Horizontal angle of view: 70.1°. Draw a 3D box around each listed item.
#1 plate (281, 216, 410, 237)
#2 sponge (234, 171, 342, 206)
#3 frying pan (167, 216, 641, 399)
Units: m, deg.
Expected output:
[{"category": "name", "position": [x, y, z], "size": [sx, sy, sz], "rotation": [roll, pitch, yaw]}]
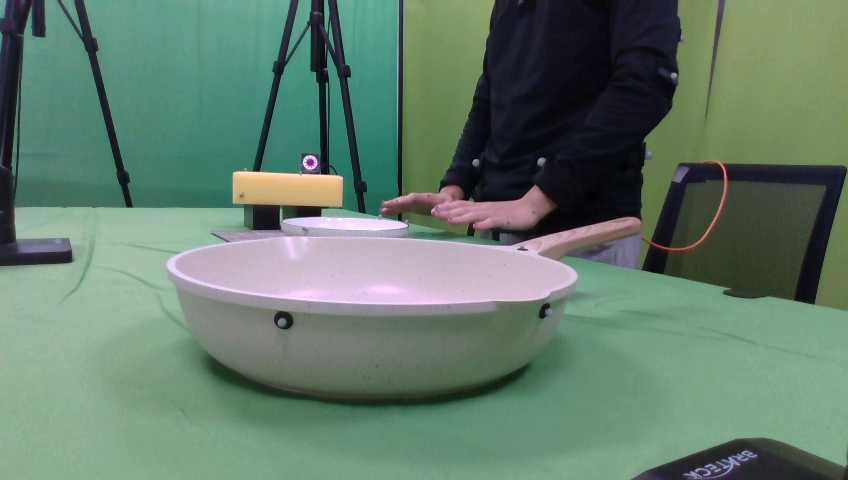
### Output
[{"category": "plate", "position": [-0.126, -0.012, 0.986], "size": [0.208, 0.039, 0.207], "rotation": [2, 7, 0]}, {"category": "sponge", "position": [-0.273, -0.105, 1.223], "size": [0.207, 0.061, 0.118], "rotation": [0, 7, -14]}, {"category": "frying pan", "position": [0.046, 0.024, 0.519], "size": [0.490, 0.102, 0.305], "rotation": [-14, 16, -37]}]
